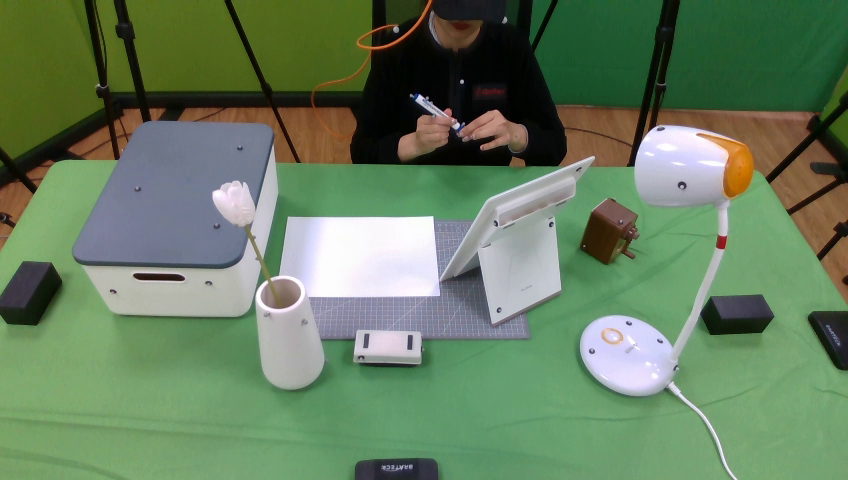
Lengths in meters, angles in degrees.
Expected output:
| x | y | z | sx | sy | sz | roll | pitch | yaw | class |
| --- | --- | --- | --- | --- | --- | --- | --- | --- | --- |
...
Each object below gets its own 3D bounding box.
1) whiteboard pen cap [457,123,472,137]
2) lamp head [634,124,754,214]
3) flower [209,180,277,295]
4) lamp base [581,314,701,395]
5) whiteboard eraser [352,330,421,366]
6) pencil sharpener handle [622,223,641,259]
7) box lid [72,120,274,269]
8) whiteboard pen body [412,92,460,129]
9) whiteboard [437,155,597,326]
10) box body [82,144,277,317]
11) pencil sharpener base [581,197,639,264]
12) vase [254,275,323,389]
| x | y | z | sx | sy | sz | roll | pitch | yaw | class |
| --- | --- | --- | --- | --- | --- | --- | --- | --- | --- |
| 0.083 | -0.232 | 1.275 | 0.033 | 0.018 | 0.018 | 34 | 46 | -14 | whiteboard pen cap |
| 0.351 | -0.089 | 0.776 | 0.112 | 0.113 | 0.122 | -30 | 30 | -28 | lamp head |
| -0.217 | 0.075 | 0.871 | 0.044 | 0.363 | 0.038 | -29 | 36 | -19 | flower |
| 0.361 | 0.144 | 0.973 | 0.178 | 0.181 | 0.160 | 34 | 53 | 23 | lamp base |
| -0.061 | 0.180 | 1.005 | 0.113 | 0.042 | 0.055 | 3 | 48 | -3 | whiteboard eraser |
| 0.397 | 0.002 | 1.146 | 0.030 | 0.068 | 0.036 | 37 | 46 | 27 | pencil sharpener handle |
| -0.417 | -0.094 | 1.056 | 0.263 | 0.015 | 0.369 | 1 | 47 | -3 | box lid |
| 0.035 | -0.261 | 1.253 | 0.141 | 0.017 | 0.017 | 31 | 42 | -22 | whiteboard pen body |
| 0.180 | 0.023 | 1.029 | 0.217 | 0.306 | 0.143 | -22 | 71 | -23 | whiteboard |
| -0.421 | -0.041 | 1.108 | 0.254 | 0.161 | 0.361 | 2 | 46 | -3 | box body |
| 0.362 | -0.017 | 1.179 | 0.076 | 0.107 | 0.061 | 37 | 54 | 27 | pencil sharpener base |
| -0.209 | 0.143 | 0.921 | 0.098 | 0.201 | 0.097 | 1 | 46 | -1 | vase |
